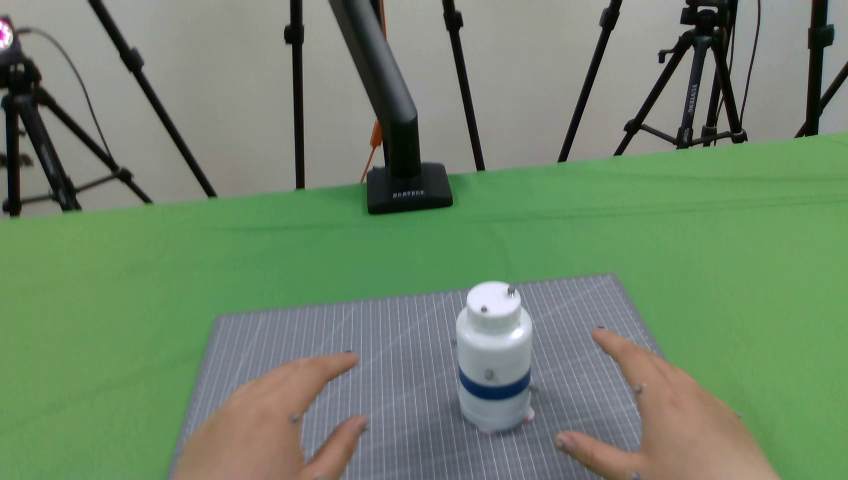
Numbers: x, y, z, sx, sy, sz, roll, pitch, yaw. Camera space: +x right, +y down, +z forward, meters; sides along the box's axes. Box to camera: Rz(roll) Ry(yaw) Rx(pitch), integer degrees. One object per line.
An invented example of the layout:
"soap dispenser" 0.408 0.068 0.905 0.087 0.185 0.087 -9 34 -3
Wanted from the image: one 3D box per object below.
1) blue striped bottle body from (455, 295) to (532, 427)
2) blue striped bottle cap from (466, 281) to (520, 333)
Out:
"blue striped bottle body" 0.059 0.095 0.510 0.063 0.122 0.062 -3 34 2
"blue striped bottle cap" 0.055 0.052 0.482 0.044 0.021 0.044 -2 35 2
